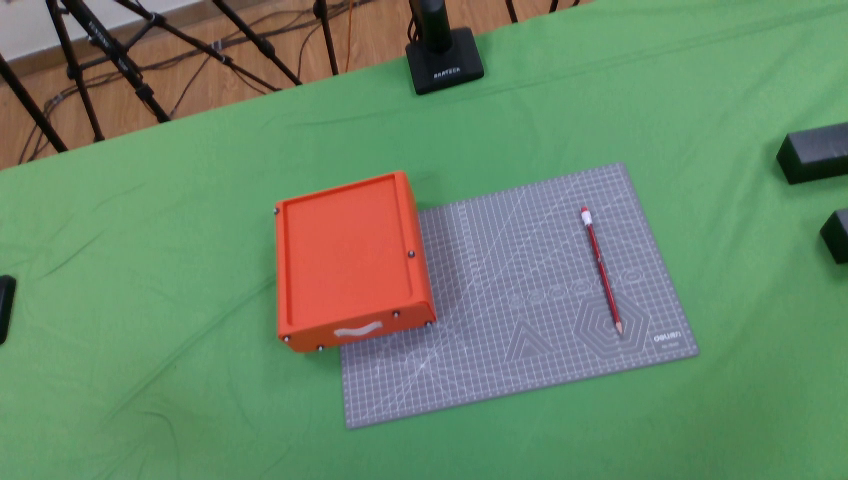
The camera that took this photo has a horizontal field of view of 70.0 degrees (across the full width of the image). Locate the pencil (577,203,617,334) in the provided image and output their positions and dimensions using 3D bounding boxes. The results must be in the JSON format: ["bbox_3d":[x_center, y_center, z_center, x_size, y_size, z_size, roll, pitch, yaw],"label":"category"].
[{"bbox_3d":[0.232,0.035,0.812,0.012,0.012,0.192,-11,63,6],"label":"pencil"}]

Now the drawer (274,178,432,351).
[{"bbox_3d":[-0.104,0.032,0.844,0.194,0.074,0.209,-14,59,6],"label":"drawer"}]

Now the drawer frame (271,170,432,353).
[{"bbox_3d":[-0.106,0.030,0.844,0.201,0.083,0.211,-15,59,5],"label":"drawer frame"}]
